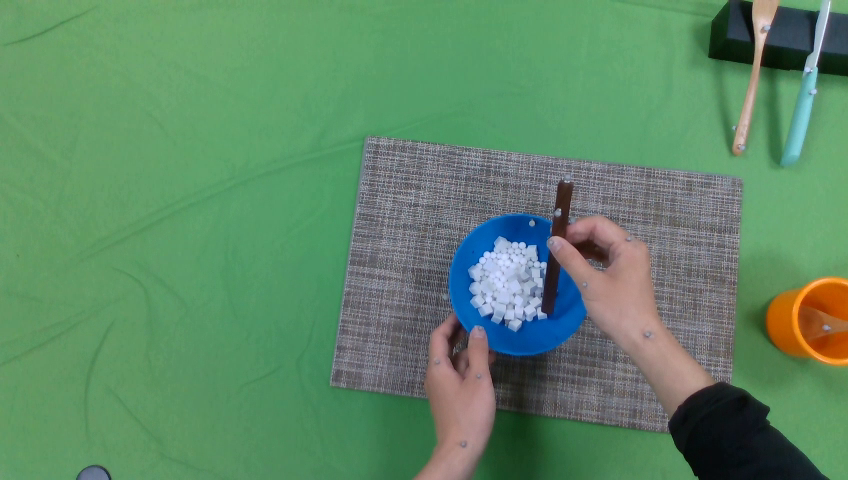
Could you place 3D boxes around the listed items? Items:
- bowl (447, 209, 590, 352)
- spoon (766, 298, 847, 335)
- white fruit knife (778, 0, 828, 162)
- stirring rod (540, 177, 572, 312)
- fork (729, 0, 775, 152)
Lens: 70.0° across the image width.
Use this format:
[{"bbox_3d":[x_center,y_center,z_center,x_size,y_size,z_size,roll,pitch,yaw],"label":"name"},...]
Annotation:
[{"bbox_3d":[0.100,0.047,0.666,0.151,0.077,0.151,0,81,2],"label":"bowl"},{"bbox_3d":[0.460,0.086,0.623,0.022,0.192,0.041,16,80,-41],"label":"spoon"},{"bbox_3d":[0.439,-0.193,0.693,0.016,0.027,0.208,8,98,0],"label":"white fruit knife"},{"bbox_3d":[0.127,0.010,0.590,0.014,0.178,0.006,9,44,14],"label":"stirring rod"},{"bbox_3d":[0.377,-0.205,0.698,0.028,0.018,0.208,5,102,0],"label":"fork"}]
